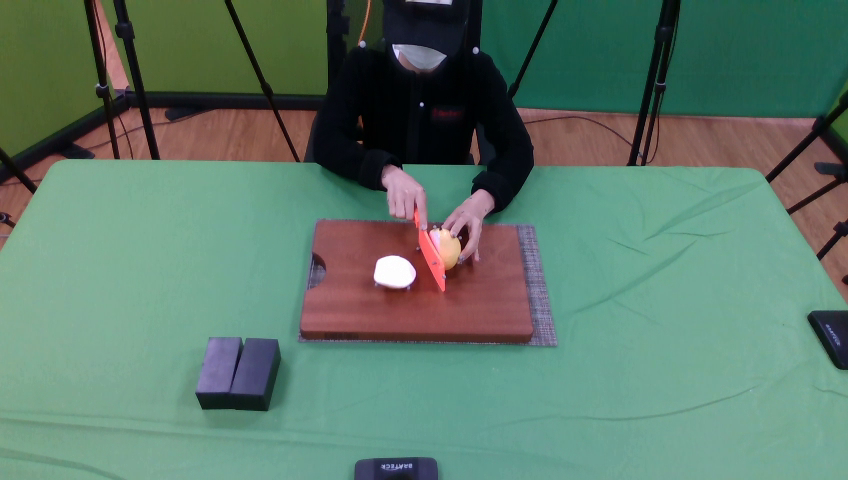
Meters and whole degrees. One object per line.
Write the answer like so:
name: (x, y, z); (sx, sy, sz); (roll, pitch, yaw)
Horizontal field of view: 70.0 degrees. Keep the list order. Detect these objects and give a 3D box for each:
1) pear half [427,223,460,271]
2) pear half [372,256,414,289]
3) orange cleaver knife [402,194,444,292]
pear half: (0.038, 0.006, 1.096); (0.056, 0.110, 0.076); (-15, 53, -17)
pear half: (-0.059, 0.065, 1.083); (0.088, 0.031, 0.070); (-25, 54, -40)
orange cleaver knife: (-0.003, 0.003, 1.118); (0.012, 0.077, 0.210); (-14, 51, -15)
